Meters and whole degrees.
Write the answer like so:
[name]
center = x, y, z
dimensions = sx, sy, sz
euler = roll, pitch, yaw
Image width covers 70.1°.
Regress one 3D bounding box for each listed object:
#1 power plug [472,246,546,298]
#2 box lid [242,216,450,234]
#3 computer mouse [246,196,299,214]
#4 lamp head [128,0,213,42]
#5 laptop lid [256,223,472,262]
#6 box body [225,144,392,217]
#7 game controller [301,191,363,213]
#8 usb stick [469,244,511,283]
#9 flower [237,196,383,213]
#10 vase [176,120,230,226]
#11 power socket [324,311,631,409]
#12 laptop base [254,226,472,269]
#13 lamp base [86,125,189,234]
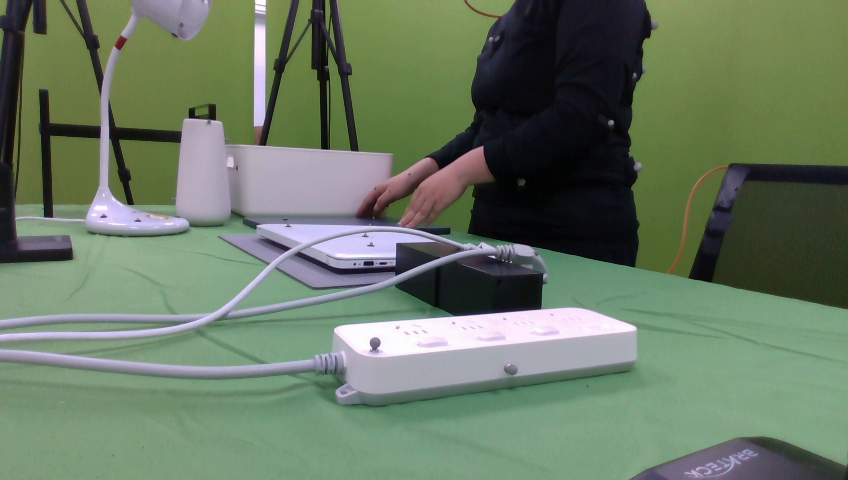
[power plug]
center = 0.081, 0.030, 0.584
dimensions = 0.072, 0.052, 0.035
euler = 11, 28, 9
[box lid]
center = -0.162, -0.030, 1.234
dimensions = 0.373, 0.015, 0.262
euler = -1, 8, -32
[computer mouse]
center = -0.355, -0.083, 1.418
dimensions = 0.117, 0.041, 0.063
euler = 0, 10, 7
[lamp head]
center = -0.423, -0.394, 0.980
dimensions = 0.123, 0.112, 0.112
euler = 20, 7, -3
[laptop lid]
center = -0.092, 0.000, 0.912
dimensions = 0.243, 0.013, 0.355
euler = 1, 7, -30
[box body]
center = -0.289, -0.143, 1.475
dimensions = 0.366, 0.160, 0.253
euler = -1, 9, -29
[game controller]
center = -0.240, -0.098, 1.550
dimensions = 0.155, 0.051, 0.097
euler = 3, 9, 5
[usb stick]
center = 0.080, 0.029, 0.674
dimensions = 0.059, 0.021, 0.027
euler = 28, 26, -29
[flower]
center = -0.282, -0.081, 1.492
dimensions = 0.362, 0.038, 0.044
euler = 3, 34, 2
[vase]
center = -0.425, -0.128, 1.159
dimensions = 0.098, 0.200, 0.098
euler = 2, 9, 0
[power socket]
center = 0.042, 0.075, 0.410
dimensions = 0.228, 0.032, 0.072
euler = -1, 8, -25
[laptop base]
center = -0.096, 0.011, 0.912
dimensions = 0.237, 0.023, 0.352
euler = 3, 6, -32
[lamp base]
center = -0.497, -0.105, 1.027
dimensions = 0.179, 0.180, 0.160
euler = 1, 7, 3
